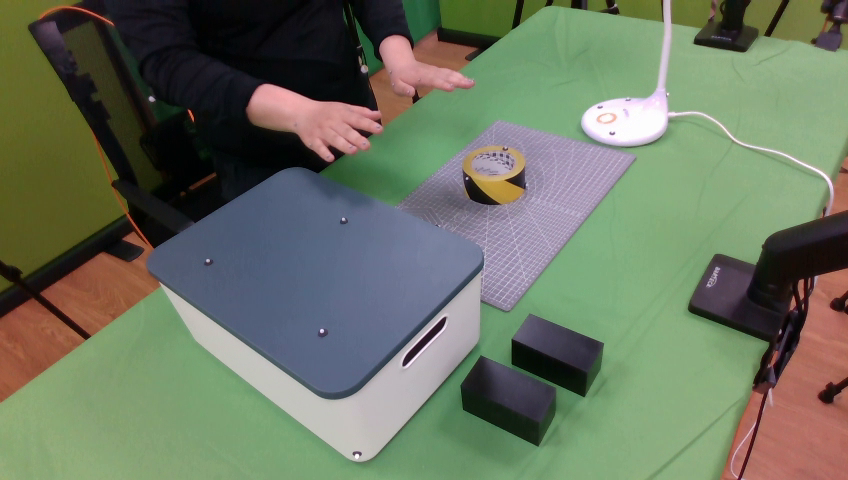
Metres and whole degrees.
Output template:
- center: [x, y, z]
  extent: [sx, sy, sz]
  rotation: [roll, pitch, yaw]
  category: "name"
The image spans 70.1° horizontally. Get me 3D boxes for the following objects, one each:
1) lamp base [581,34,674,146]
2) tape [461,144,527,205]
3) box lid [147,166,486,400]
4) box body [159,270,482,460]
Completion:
- center: [0.392, -0.291, 1.129]
  extent: [0.180, 0.181, 0.159]
  rotation: [-11, 41, -8]
  category: "lamp base"
- center: [0.124, -0.116, 1.058]
  extent: [0.117, 0.053, 0.116]
  rotation: [-4, 42, 4]
  category: "tape"
- center: [-0.136, 0.025, 0.738]
  extent: [0.368, 0.015, 0.264]
  rotation: [25, 50, 32]
  category: "box lid"
- center: [-0.130, 0.079, 0.787]
  extent: [0.361, 0.161, 0.255]
  rotation: [25, 50, 32]
  category: "box body"
